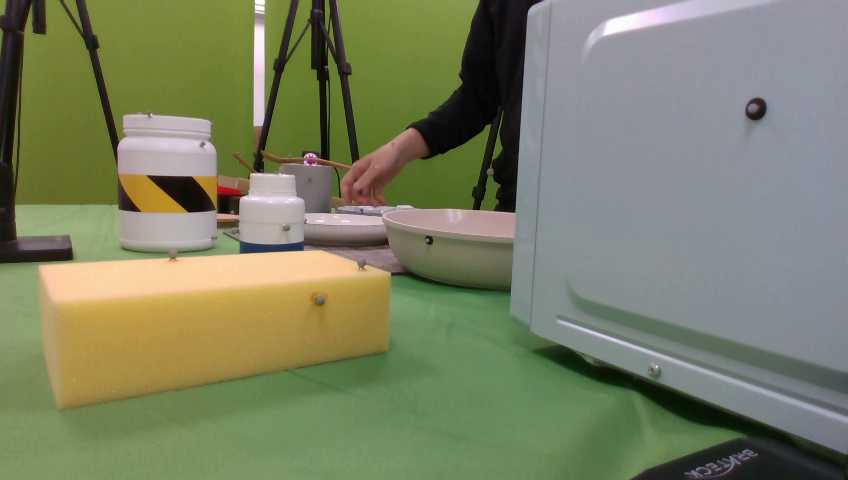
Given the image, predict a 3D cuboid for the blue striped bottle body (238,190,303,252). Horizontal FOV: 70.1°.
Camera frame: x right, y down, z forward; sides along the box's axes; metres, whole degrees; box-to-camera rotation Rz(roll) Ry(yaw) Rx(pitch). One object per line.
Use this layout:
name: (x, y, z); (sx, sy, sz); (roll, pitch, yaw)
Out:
blue striped bottle body: (-0.153, -0.007, 0.606); (0.063, 0.120, 0.063); (2, 7, 0)

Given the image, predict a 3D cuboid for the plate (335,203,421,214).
plate: (-0.089, -0.053, 1.309); (0.208, 0.039, 0.207); (2, 8, 0)

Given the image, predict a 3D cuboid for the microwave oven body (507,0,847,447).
microwave oven body: (0.331, -0.042, 0.425); (0.444, 0.260, 0.324); (-2, 8, -31)

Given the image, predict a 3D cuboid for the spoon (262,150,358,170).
spoon: (-0.229, -0.162, 1.222); (0.194, 0.021, 0.041); (4, 5, -16)

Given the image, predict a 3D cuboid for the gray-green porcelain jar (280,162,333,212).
gray-green porcelain jar: (-0.238, -0.092, 1.221); (0.106, 0.126, 0.106); (2, 8, 0)

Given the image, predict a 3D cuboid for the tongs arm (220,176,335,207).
tongs arm: (-0.286, -0.104, 1.445); (0.389, 0.027, 0.028); (9, -4, -23)

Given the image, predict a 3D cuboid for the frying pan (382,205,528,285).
frying pan: (0.188, -0.016, 0.813); (0.490, 0.102, 0.305); (-9, 12, -17)

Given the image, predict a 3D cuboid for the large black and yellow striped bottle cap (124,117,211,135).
large black and yellow striped bottle cap: (-0.366, -0.163, 0.866); (0.115, 0.019, 0.115); (3, 7, 0)

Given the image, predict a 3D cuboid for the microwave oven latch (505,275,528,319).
microwave oven latch: (0.100, 0.042, 0.471); (0.079, 0.029, 0.030); (-2, 7, -29)

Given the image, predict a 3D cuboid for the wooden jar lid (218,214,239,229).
wooden jar lid: (-0.404, -0.037, 1.169); (0.108, 0.020, 0.108); (3, 7, 0)

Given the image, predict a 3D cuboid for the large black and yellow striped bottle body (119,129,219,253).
large black and yellow striped bottle body: (-0.367, -0.080, 0.876); (0.131, 0.184, 0.130); (2, 7, 0)

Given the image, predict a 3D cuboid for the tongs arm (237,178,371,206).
tongs arm: (-0.242, -0.095, 1.374); (0.387, 0.026, 0.050); (9, -1, -37)

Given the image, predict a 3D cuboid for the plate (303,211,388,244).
plate: (-0.139, -0.022, 1.021); (0.209, 0.038, 0.209); (2, 8, 0)

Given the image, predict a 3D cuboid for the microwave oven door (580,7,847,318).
microwave oven door: (0.295, -0.067, 0.570); (0.358, 0.243, 0.039); (-3, 9, -31)

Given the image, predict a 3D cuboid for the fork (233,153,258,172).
fork: (-0.396, -0.143, 1.486); (0.028, 0.018, 0.208); (21, -25, 45)

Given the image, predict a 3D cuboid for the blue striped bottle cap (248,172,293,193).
blue striped bottle cap: (-0.152, -0.057, 0.598); (0.044, 0.020, 0.044); (3, 6, 0)

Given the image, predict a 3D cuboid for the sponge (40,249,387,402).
sponge: (-0.142, 0.047, 0.420); (0.208, 0.061, 0.117); (-3, 8, -36)
